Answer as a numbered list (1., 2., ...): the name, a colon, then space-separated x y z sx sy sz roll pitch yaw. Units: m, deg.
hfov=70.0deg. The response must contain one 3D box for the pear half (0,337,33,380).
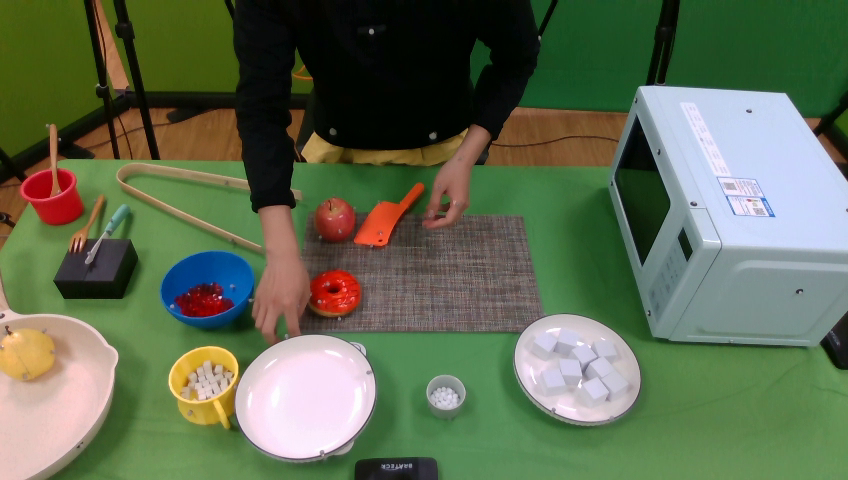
1. pear half: -0.631 0.184 0.921 0.070 0.088 0.031 29 49 19

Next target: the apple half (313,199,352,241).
1. apple half: -0.185 -0.033 1.176 0.080 0.075 0.053 35 56 21

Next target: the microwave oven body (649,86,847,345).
1. microwave oven body: 0.567 -0.053 1.118 0.326 0.261 0.439 2 45 -1

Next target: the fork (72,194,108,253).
1. fork: -0.634 -0.036 1.158 0.028 0.019 0.206 -8 32 -8

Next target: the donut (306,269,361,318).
1. donut: -0.159 0.094 1.074 0.099 0.048 0.098 3 45 -3

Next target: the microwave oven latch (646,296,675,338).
1. microwave oven latch: 0.412 0.134 1.061 0.030 0.029 0.078 4 45 1

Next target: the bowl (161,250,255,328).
1. bowl: -0.362 0.098 1.040 0.151 0.077 0.150 2 45 -2

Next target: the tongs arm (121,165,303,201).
1. tongs arm: -0.444 -0.113 1.267 0.384 0.026 0.050 11 51 8

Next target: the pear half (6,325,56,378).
1. pear half: -0.608 0.158 0.935 0.076 0.110 0.056 31 51 20

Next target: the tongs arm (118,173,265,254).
1. tongs arm: -0.473 -0.053 1.212 0.386 0.028 0.028 23 57 18

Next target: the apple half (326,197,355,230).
1. apple half: -0.159 -0.054 1.196 0.081 0.082 0.033 34 56 26

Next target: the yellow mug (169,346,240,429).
1. yellow mug: -0.323 0.231 0.922 0.100 0.064 0.130 -24 53 -26

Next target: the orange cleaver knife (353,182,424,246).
1. orange cleaver knife: -0.069 -0.058 1.245 0.077 0.012 0.210 18 49 21

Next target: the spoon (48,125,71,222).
1. spoon: -0.718 -0.131 1.188 0.041 0.021 0.193 -3 90 -7

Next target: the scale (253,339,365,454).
1. scale: -0.175 0.236 0.951 0.149 0.032 0.199 4 46 0

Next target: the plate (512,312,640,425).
1. plate: 0.246 0.213 0.999 0.208 0.039 0.206 2 46 -2

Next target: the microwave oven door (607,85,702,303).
1. microwave oven door: 0.423 -0.094 1.140 0.039 0.245 0.353 2 46 -1

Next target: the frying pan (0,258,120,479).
1. frying pan: -0.647 0.164 0.936 0.307 0.103 0.485 -19 58 -22

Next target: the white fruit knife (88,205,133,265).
1. white fruit knife: -0.584 -0.013 1.129 0.016 0.027 0.206 0 31 -5

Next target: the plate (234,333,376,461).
1. plate: -0.175 0.235 0.907 0.209 0.038 0.208 2 46 -2

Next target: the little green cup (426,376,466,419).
1. little green cup: 0.033 0.248 0.950 0.061 0.039 0.061 2 46 -2
